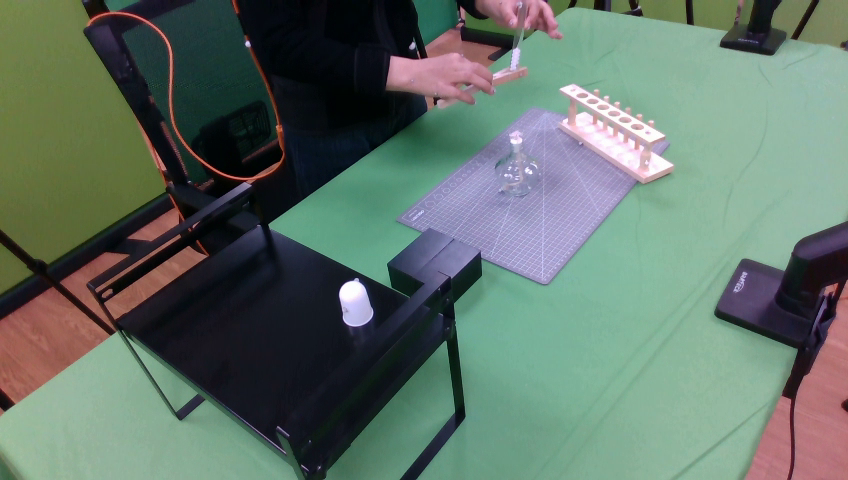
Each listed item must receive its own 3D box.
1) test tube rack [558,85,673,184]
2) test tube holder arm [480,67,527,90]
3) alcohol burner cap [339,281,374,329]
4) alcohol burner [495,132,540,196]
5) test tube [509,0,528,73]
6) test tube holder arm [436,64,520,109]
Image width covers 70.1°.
[{"bbox_3d":[0.347,-0.203,1.109,0.067,0.085,0.240,-22,42,-17],"label":"test tube rack"},{"bbox_3d":[0.135,-0.277,1.036,0.088,0.015,0.010,-20,40,-11],"label":"test tube holder arm"},{"bbox_3d":[-0.071,0.063,0.617,0.034,0.048,0.033,-4,39,4],"label":"alcohol burner cap"},{"bbox_3d":[0.159,-0.135,1.035,0.078,0.119,0.077,-5,42,5],"label":"alcohol burner"},{"bbox_3d":[0.159,-0.352,1.010,0.017,0.150,0.017,3,31,-2],"label":"test tube"},{"bbox_3d":[0.094,-0.261,1.027,0.179,0.015,0.013,-29,41,-21],"label":"test tube holder arm"}]
